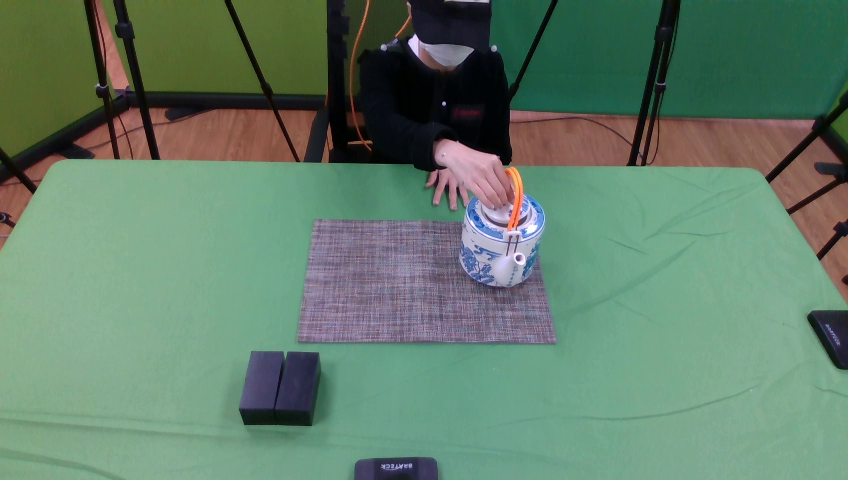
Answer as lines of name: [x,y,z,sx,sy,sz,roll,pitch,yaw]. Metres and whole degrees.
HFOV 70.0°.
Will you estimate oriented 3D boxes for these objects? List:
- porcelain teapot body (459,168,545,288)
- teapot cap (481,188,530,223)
porcelain teapot body: [0.146,-0.006,1.070,0.145,0.226,0.204,-4,46,-8]
teapot cap: [0.142,-0.065,1.048,0.085,0.044,0.084,1,45,-1]
